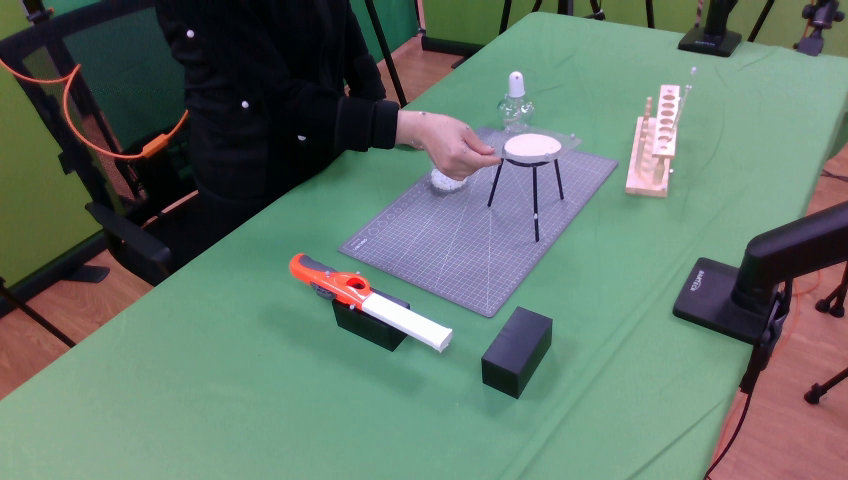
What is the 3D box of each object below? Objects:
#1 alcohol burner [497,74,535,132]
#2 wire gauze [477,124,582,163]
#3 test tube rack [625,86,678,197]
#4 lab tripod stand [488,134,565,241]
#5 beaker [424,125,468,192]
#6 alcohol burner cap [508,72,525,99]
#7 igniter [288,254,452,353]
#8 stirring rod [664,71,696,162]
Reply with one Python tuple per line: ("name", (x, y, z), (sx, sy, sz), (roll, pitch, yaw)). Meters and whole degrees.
("alcohol burner", (0.184, -0.278, 1.210), (0.078, 0.119, 0.077), (-3, 42, 3))
("wire gauze", (0.163, -0.146, 0.924), (0.120, 0.011, 0.125), (17, 36, 30))
("test tube rack", (0.412, -0.184, 1.088), (0.066, 0.085, 0.242), (9, 43, 18))
("lab tripod stand", (0.169, -0.092, 0.972), (0.148, 0.132, 0.147), (-5, 41, 5))
("beaker", (0.043, -0.144, 1.078), (0.073, 0.100, 0.084), (28, 51, 34))
("alcohol burner cap", (0.181, -0.306, 1.186), (0.034, 0.048, 0.033), (-7, 39, 6))
("igniter", (-0.083, 0.080, 0.818), (0.274, 0.025, 0.057), (23, 46, 27))
("stirring rod", (0.411, -0.196, 0.981), (0.014, 0.177, 0.006), (11, 50, 13))
